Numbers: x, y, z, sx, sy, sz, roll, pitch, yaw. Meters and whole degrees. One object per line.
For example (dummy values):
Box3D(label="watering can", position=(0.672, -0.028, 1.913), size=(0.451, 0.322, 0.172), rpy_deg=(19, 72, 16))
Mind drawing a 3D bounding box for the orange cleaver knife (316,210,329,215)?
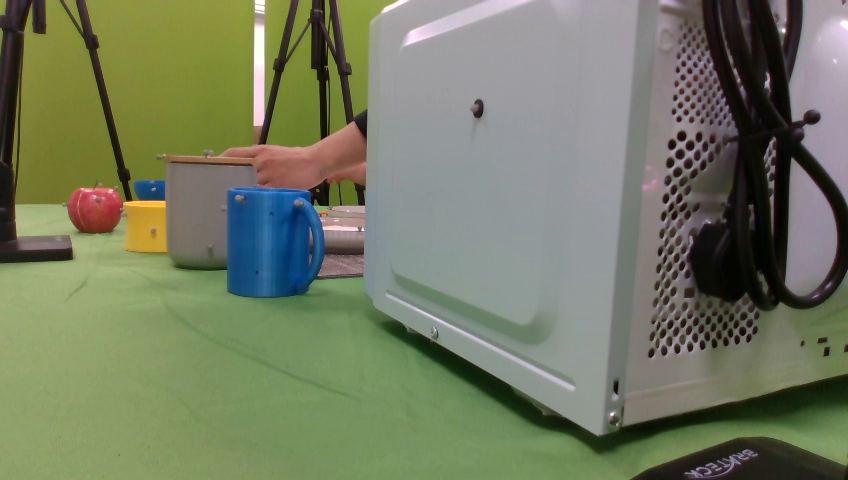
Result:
Box3D(label="orange cleaver knife", position=(-0.259, -0.064, 1.423), size=(0.212, 0.012, 0.077), rpy_deg=(-4, 3, -30))

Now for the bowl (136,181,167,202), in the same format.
Box3D(label="bowl", position=(-0.497, -0.076, 1.221), size=(0.151, 0.077, 0.151), rpy_deg=(2, 8, 0))

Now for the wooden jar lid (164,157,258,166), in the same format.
Box3D(label="wooden jar lid", position=(-0.261, -0.093, 0.746), size=(0.108, 0.020, 0.108), rpy_deg=(1, 9, 0))

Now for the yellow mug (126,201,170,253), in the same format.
Box3D(label="yellow mug", position=(-0.361, -0.018, 0.865), size=(0.130, 0.064, 0.100), rpy_deg=(7, 8, 27))

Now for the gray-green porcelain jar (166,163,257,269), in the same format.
Box3D(label="gray-green porcelain jar", position=(-0.263, -0.031, 0.754), size=(0.106, 0.126, 0.106), rpy_deg=(2, 7, 0))

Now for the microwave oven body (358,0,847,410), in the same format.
Box3D(label="microwave oven body", position=(0.210, -0.051, 0.471), size=(0.444, 0.260, 0.324), rpy_deg=(-1, 7, -28))

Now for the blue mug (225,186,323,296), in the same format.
Box3D(label="blue mug", position=(-0.148, 0.000, 0.618), size=(0.116, 0.106, 0.083), rpy_deg=(7, 9, 33))

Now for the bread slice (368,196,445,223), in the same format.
Box3D(label="bread slice", position=(-0.040, -0.057, 1.142), size=(0.107, 0.018, 0.133), rpy_deg=(-8, -8, -39))

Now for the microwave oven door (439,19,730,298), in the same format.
Box3D(label="microwave oven door", position=(0.181, -0.076, 0.618), size=(0.358, 0.243, 0.039), rpy_deg=(-2, 8, -28))

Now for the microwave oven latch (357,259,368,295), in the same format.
Box3D(label="microwave oven latch", position=(-0.019, 0.031, 0.529), size=(0.079, 0.029, 0.030), rpy_deg=(-1, 7, -26))

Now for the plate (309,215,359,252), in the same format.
Box3D(label="plate", position=(-0.130, -0.011, 0.946), size=(0.208, 0.039, 0.207), rpy_deg=(2, 7, 0))

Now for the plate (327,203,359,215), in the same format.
Box3D(label="plate", position=(-0.102, -0.053, 1.299), size=(0.209, 0.038, 0.209), rpy_deg=(2, 8, 0))

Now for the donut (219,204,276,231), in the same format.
Box3D(label="donut", position=(-0.316, -0.039, 1.083), size=(0.099, 0.048, 0.099), rpy_deg=(2, 7, 0))

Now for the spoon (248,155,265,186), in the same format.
Box3D(label="spoon", position=(-0.417, -0.150, 1.543), size=(0.042, 0.193, 0.021), rpy_deg=(-6, -33, -32))

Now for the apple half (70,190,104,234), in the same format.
Box3D(label="apple half", position=(-0.552, -0.047, 1.009), size=(0.053, 0.074, 0.081), rpy_deg=(0, 9, 26))

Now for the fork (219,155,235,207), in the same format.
Box3D(label="fork", position=(-0.459, -0.134, 1.415), size=(0.028, 0.018, 0.207), rpy_deg=(-1, -34, -25))

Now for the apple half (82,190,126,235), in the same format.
Box3D(label="apple half", position=(-0.516, -0.046, 0.994), size=(0.032, 0.081, 0.081), rpy_deg=(0, 6, 26))

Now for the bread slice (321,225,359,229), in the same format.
Box3D(label="bread slice", position=(-0.125, -0.008, 0.939), size=(0.131, 0.019, 0.105), rpy_deg=(5, 9, 32))
